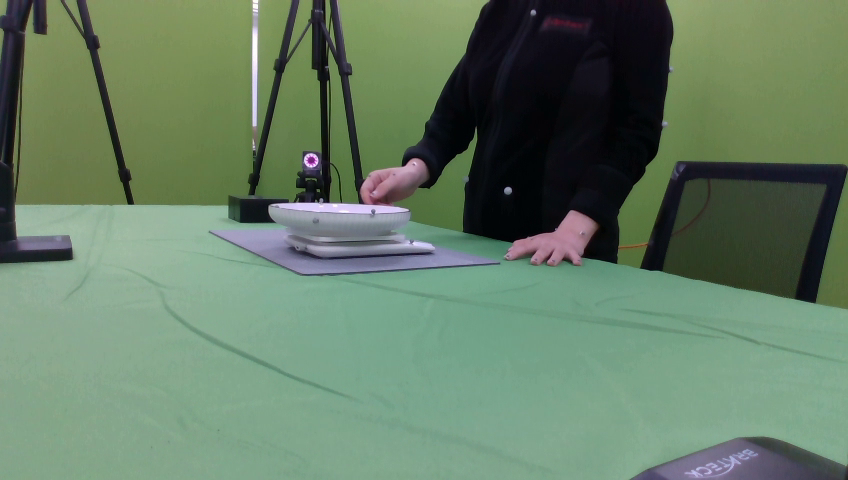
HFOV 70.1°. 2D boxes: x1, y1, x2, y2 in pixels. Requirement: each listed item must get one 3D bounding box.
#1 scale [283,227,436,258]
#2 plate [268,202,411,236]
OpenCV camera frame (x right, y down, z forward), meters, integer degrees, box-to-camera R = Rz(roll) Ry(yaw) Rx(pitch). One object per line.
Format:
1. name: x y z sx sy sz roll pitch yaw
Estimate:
1. scale: -0.098 0.000 0.915 0.202 0.031 0.148 -2 9 -34
2. plate: -0.123 -0.032 0.894 0.209 0.038 0.209 2 7 0
